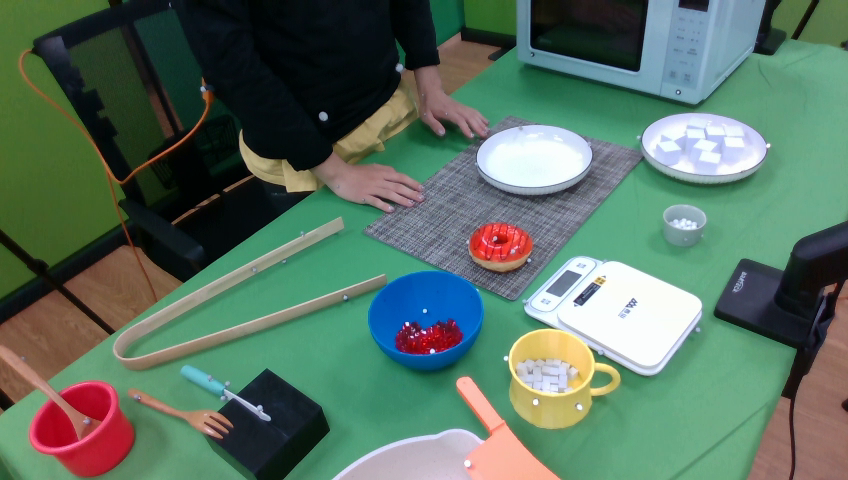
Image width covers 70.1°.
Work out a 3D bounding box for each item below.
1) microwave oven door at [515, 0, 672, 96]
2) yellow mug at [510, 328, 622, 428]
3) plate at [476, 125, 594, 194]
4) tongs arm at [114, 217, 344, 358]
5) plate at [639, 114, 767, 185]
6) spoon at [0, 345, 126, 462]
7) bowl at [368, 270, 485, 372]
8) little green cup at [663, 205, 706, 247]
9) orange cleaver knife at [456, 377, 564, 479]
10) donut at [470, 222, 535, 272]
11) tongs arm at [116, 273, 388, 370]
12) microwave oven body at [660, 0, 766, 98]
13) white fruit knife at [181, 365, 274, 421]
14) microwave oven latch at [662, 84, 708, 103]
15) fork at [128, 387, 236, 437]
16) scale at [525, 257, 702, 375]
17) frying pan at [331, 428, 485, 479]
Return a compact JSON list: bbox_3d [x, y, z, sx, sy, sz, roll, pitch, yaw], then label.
[{"bbox_3d":[0.343,-0.454,1.259,0.353,0.245,0.039,26,51,33],"label":"microwave oven door"},{"bbox_3d":[0.169,0.164,0.722,0.130,0.064,0.099,0,40,8],"label":"yellow mug"},{"bbox_3d":[0.199,-0.141,1.093,0.209,0.038,0.208,-4,40,4],"label":"plate"},{"bbox_3d":[-0.280,0.067,0.926,0.386,0.026,0.050,-29,49,-23],"label":"tongs arm"},{"bbox_3d":[0.489,-0.157,1.074,0.207,0.039,0.206,-4,40,4],"label":"plate"},{"bbox_3d":[-0.434,0.192,0.720,0.194,0.021,0.042,47,53,-7],"label":"spoon"},{"bbox_3d":[0.007,0.118,0.791,0.151,0.077,0.150,-5,40,4],"label":"bowl"},{"bbox_3d":[0.396,-0.020,0.926,0.061,0.039,0.061,-4,40,4],"label":"little green cup"},{"bbox_3d":[0.081,0.220,0.611,0.077,0.012,0.209,-26,43,-22],"label":"orange cleaver knife"},{"bbox_3d":[0.119,0.009,0.923,0.099,0.048,0.098,-4,39,3],"label":"donut"},{"bbox_3d":[-0.236,0.115,0.870,0.389,0.028,0.028,-18,49,-13],"label":"tongs arm"},{"bbox_3d":[0.472,-0.513,1.317,0.438,0.261,0.327,26,51,34],"label":"microwave oven body"},{"bbox_3d":[-0.245,0.187,0.747,0.205,0.027,0.016,9,41,40],"label":"white fruit knife"},{"bbox_3d":[0.517,-0.296,1.204,0.078,0.029,0.030,27,52,35],"label":"microwave oven latch"},{"bbox_3d":[-0.305,0.207,0.744,0.206,0.019,0.028,3,41,36],"label":"fork"},{"bbox_3d":[0.254,0.091,0.821,0.199,0.032,0.149,28,51,35],"label":"scale"},{"bbox_3d":[-0.089,0.306,0.564,0.487,0.103,0.306,10,41,7],"label":"frying pan"}]
